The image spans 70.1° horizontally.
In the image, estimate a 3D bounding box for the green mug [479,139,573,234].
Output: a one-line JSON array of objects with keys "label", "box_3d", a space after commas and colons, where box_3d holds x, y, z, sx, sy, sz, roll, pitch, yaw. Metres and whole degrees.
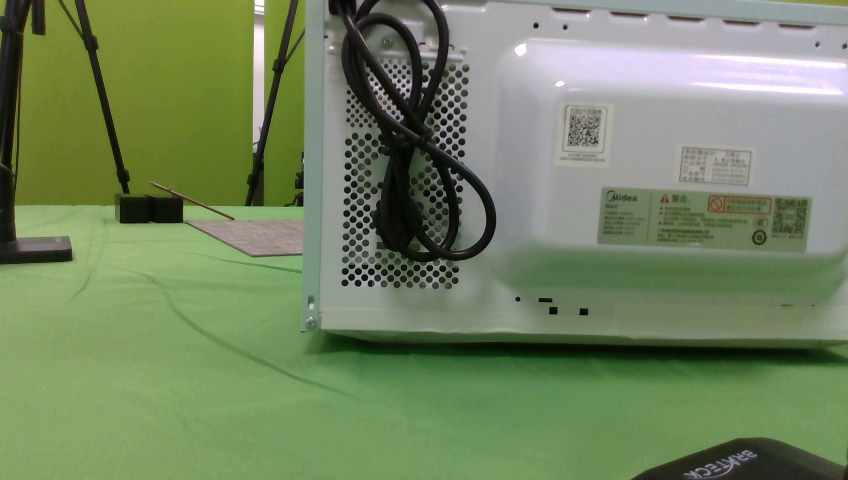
[{"label": "green mug", "box_3d": [0.115, -0.062, 0.714, 0.093, 0.105, 0.124, -4, 6, -45]}]

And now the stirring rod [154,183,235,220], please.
[{"label": "stirring rod", "box_3d": [-0.472, -0.079, 1.252, 0.177, 0.006, 0.014, 27, 4, -35]}]

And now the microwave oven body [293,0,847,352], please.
[{"label": "microwave oven body", "box_3d": [0.122, -0.055, 0.550, 0.442, 0.260, 0.325, 3, 7, -5]}]

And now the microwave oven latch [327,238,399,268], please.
[{"label": "microwave oven latch", "box_3d": [-0.069, 0.015, 0.694, 0.079, 0.029, 0.030, 3, 7, -3]}]

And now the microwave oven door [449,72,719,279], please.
[{"label": "microwave oven door", "box_3d": [0.192, -0.091, 0.812, 0.354, 0.243, 0.039, 7, 8, 37]}]
